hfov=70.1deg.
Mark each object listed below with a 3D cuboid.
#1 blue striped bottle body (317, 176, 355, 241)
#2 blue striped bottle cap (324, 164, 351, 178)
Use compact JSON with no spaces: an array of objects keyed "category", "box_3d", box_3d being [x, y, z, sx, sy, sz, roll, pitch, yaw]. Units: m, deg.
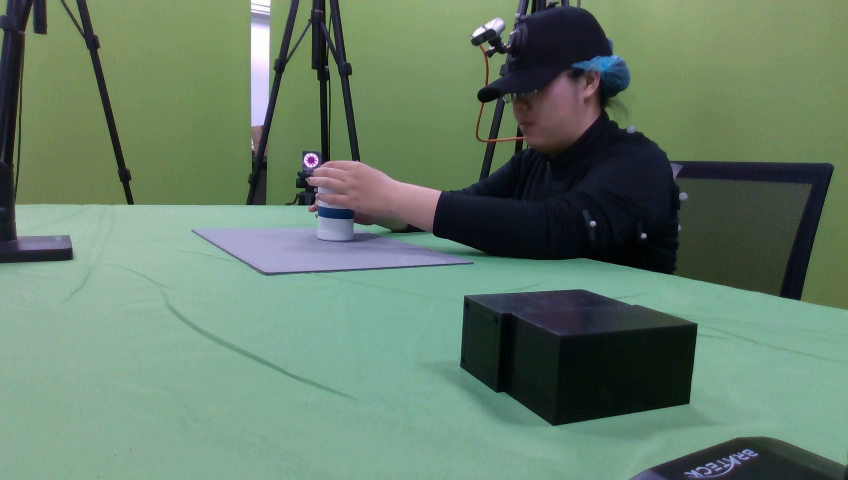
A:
[{"category":"blue striped bottle body","box_3d":[-0.149,-0.061,1.024,0.063,0.120,0.063,2,7,0]},{"category":"blue striped bottle cap","box_3d":[-0.145,-0.115,1.015,0.044,0.020,0.044,-1,-2,0]}]
